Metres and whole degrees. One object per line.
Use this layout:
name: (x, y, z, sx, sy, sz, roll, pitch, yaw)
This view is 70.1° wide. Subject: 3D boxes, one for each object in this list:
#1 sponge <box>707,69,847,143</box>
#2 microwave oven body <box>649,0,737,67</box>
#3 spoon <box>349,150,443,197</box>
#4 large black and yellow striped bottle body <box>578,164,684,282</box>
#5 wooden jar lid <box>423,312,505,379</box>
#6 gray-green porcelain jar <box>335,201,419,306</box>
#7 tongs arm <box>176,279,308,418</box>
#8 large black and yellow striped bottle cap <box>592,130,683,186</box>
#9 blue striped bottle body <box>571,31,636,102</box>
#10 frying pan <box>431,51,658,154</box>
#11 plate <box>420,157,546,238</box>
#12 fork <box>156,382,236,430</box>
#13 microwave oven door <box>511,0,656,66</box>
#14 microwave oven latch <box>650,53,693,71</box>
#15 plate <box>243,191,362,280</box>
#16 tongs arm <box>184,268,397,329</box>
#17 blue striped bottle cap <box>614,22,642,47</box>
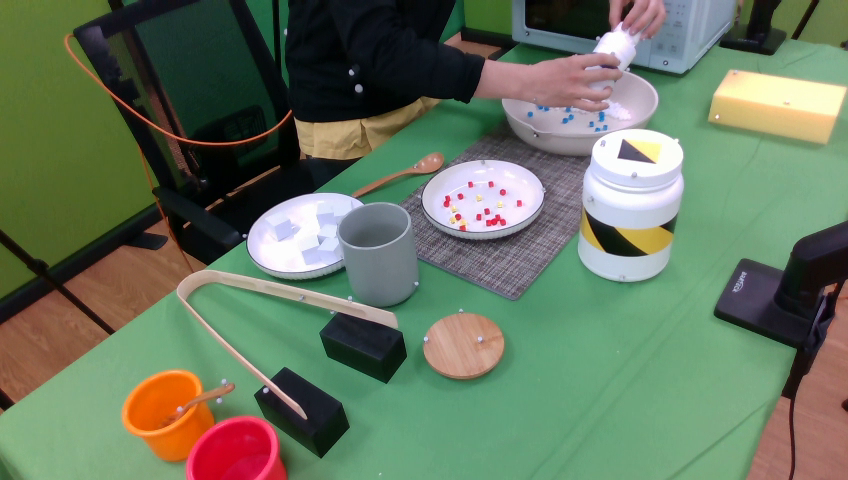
sponge: (0.663, -0.256, 1.141, 0.205, 0.061, 0.118, 19, 47, 28)
microwave oven body: (0.475, -0.602, 1.411, 0.438, 0.261, 0.327, 23, 50, 32)
spoon: (-0.051, -0.122, 1.120, 0.194, 0.022, 0.041, -23, 60, -18)
large black and yellow striped bottle body: (0.292, -0.046, 0.859, 0.131, 0.185, 0.130, -4, 41, 4)
wooden jar lid: (0.053, 0.142, 0.800, 0.108, 0.021, 0.108, -5, 39, 4)
gray-green porcelain jar: (-0.064, 0.024, 0.872, 0.106, 0.127, 0.105, -4, 41, 4)
tongs arm: (-0.255, 0.132, 0.801, 0.028, 0.028, 0.384, -41, 40, -23)
large black and yellow striped bottle cap: (0.282, -0.111, 0.803, 0.115, 0.019, 0.114, -3, 41, 3)
blue striped bottle body: (0.304, -0.296, 1.003, 0.062, 0.063, 0.121, 39, 94, 40)
frying pan: (0.216, -0.302, 1.223, 0.484, 0.103, 0.308, 29, 50, 24)
plate: (0.099, -0.067, 1.017, 0.209, 0.038, 0.208, -4, 40, 4)
fork: (-0.262, 0.189, 0.690, 0.018, 0.206, 0.028, 49, 43, -7)
microwave oven door: (0.351, -0.540, 1.349, 0.353, 0.245, 0.039, 24, 50, 31)
microwave oven latch: (0.531, -0.386, 1.301, 0.078, 0.029, 0.030, 26, 51, 33)
plate: (-0.188, -0.005, 0.992, 0.207, 0.039, 0.206, -4, 40, 3)
tongs arm: (-0.202, 0.084, 0.848, 0.382, 0.027, 0.051, 11, 44, 35)
blue striped bottle cap: (0.337, -0.340, 1.001, 0.044, 0.045, 0.020, 39, 99, 40)
